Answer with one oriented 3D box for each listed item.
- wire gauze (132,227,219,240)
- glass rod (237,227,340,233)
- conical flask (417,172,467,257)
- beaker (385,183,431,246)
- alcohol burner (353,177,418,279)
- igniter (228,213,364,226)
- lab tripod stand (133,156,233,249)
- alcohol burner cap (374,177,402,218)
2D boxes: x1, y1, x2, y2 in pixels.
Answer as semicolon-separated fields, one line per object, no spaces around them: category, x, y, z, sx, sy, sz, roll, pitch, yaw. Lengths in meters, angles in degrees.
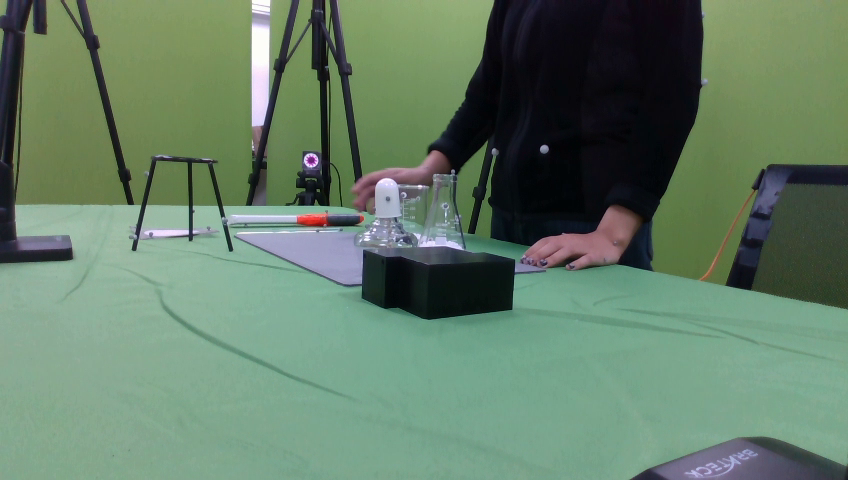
wire gauze;-0.421;-0.014;1.024;0.122;0.011;0.124;-2;7;-34
glass rod;-0.247;-0.020;1.123;0.201;0.008;0.008;-2;8;-34
conical flask;0.029;-0.039;0.897;0.075;0.122;0.075;3;8;0
beaker;-0.031;-0.043;1.000;0.084;0.100;0.074;4;7;15
alcohol burner;-0.044;-0.014;0.710;0.078;0.119;0.078;4;9;0
igniter;-0.252;-0.042;1.227;0.278;0.025;0.057;-3;-2;-32
lab tripod stand;-0.342;-0.054;0.878;0.148;0.131;0.148;4;6;0
alcohol burner cap;-0.044;-0.049;0.704;0.034;0.048;0.034;-5;10;1
